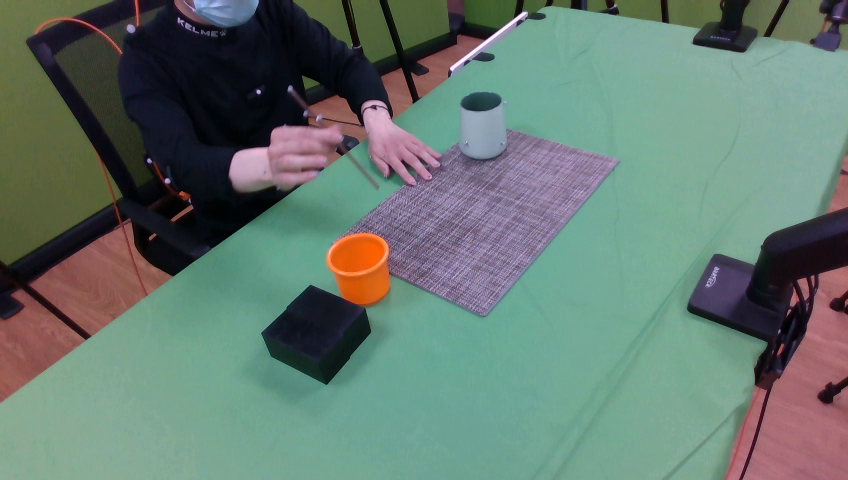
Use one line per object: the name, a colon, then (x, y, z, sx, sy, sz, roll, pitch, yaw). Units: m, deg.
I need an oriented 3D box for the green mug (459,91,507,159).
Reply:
green mug: (0.117, -0.225, 1.144, 0.092, 0.105, 0.125, 14, 45, 23)

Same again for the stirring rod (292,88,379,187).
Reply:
stirring rod: (-0.120, -0.140, 0.837, 0.006, 0.177, 0.014, -42, 22, -1)
